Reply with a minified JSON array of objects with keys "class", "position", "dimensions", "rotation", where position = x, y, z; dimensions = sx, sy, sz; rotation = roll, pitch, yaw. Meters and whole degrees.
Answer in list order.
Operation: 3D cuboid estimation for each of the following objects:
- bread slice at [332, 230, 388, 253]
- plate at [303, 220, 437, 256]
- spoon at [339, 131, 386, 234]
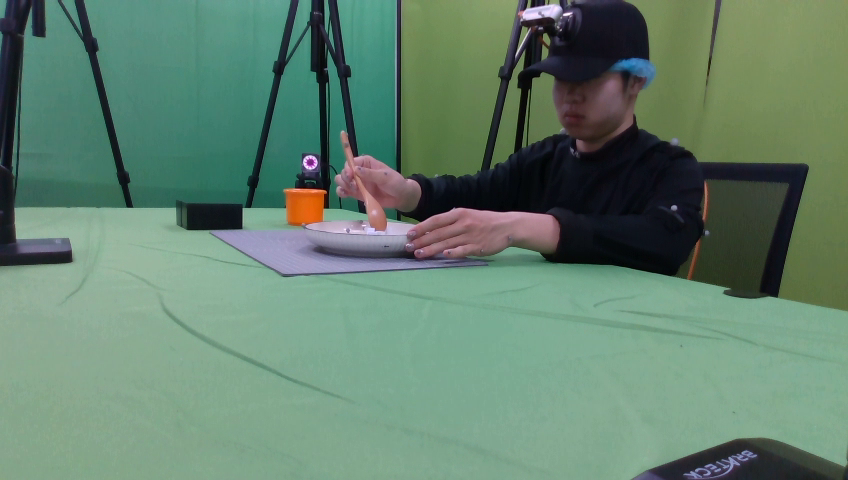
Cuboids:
[{"class":"bread slice","position":[-0.088,0.000,0.947],"dimensions":[0.105,0.019,0.131],"rotation":[-4,11,-45]},{"class":"plate","position":[-0.084,-0.003,0.951],"dimensions":[0.209,0.038,0.209],"rotation":[3,7,0]},{"class":"spoon","position":[-0.103,-0.094,0.962],"dimensions":[0.021,0.193,0.042],"rotation":[-39,-25,32]}]
